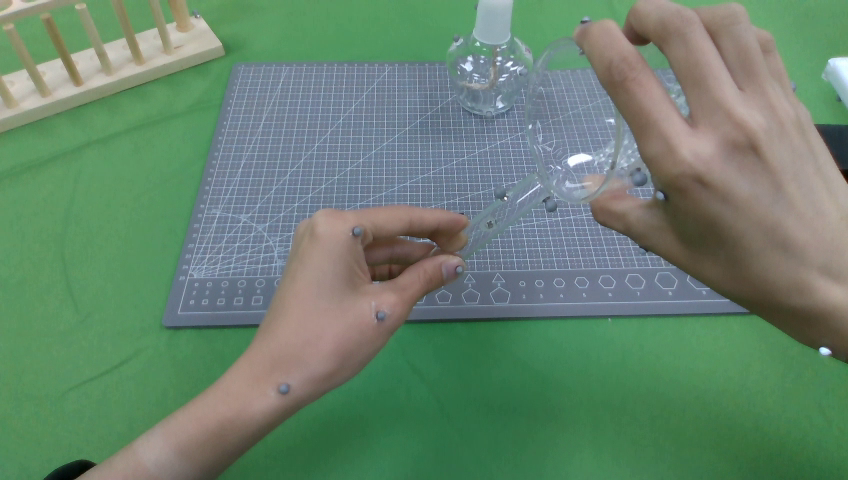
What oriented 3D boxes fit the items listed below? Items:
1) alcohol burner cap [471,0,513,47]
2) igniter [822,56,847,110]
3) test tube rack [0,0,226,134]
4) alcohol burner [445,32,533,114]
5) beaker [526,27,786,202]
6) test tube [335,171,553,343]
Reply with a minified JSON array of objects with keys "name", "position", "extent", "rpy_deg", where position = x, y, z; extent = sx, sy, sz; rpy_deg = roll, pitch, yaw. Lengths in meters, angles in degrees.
[{"name":"alcohol burner cap","position":[0.058,-0.189,0.502],"extent":[0.034,0.048,0.033],"rpy_deg":[2,51,-2]},{"name":"igniter","position":[0.349,-0.045,0.429],"extent":[0.057,0.025,0.274],"rpy_deg":[0,50,5]},{"name":"test tube rack","position":[-0.318,-0.182,0.555],"extent":[0.242,0.086,0.066],"rpy_deg":[-27,57,-20]},{"name":"alcohol burner","position":[0.058,-0.169,0.526],"extent":[0.078,0.120,0.077],"rpy_deg":[1,53,-1]},{"name":"beaker","position":[0.110,-0.061,0.292],"extent":[0.100,0.084,0.073],"rpy_deg":[-11,60,-18]},{"name":"test tube","position":[0.006,0.013,0.331],"extent":[0.150,0.017,0.017],"rpy_deg":[-38,51,19]}]
